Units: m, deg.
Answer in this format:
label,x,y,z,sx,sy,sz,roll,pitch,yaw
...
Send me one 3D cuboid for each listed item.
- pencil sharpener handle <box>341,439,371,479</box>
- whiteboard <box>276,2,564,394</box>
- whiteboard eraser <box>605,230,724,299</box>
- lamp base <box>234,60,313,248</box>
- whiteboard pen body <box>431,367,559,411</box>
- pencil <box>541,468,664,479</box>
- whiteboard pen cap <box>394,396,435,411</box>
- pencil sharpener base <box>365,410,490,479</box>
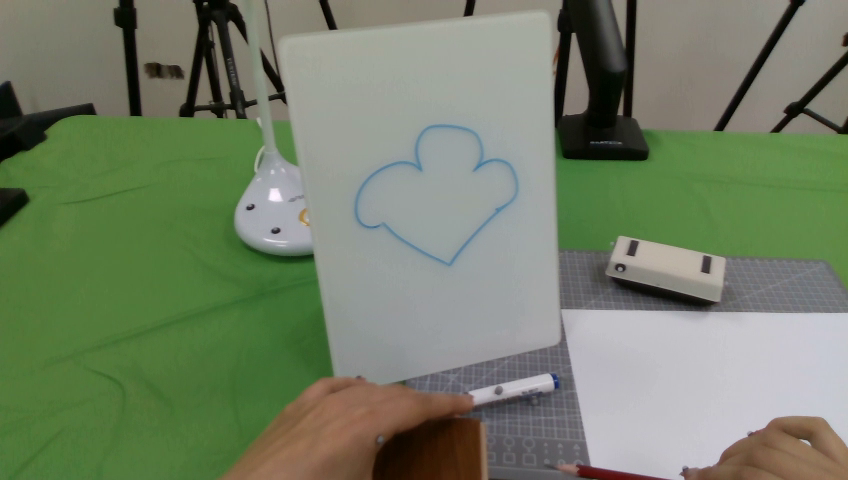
label,x,y,z,sx,sy,sz,roll,pitch,yaw
pencil sharpener handle,-0.049,0.161,0.395,0.030,0.068,0.035,-1,26,2
whiteboard,-0.003,-0.046,0.571,0.218,0.307,0.142,-10,19,-11
whiteboard eraser,0.252,0.026,0.637,0.112,0.042,0.055,14,41,19
lamp base,-0.162,-0.107,0.707,0.161,0.182,0.177,-30,44,-32
whiteboard pen body,0.049,0.130,0.518,0.141,0.017,0.017,-11,38,-11
pencil,0.170,0.154,0.371,0.194,0.012,0.012,6,38,4
whiteboard pen cap,-0.008,0.141,0.506,0.033,0.018,0.018,-11,39,-12
pencil sharpener base,0.003,0.169,0.405,0.077,0.108,0.061,-1,38,1
